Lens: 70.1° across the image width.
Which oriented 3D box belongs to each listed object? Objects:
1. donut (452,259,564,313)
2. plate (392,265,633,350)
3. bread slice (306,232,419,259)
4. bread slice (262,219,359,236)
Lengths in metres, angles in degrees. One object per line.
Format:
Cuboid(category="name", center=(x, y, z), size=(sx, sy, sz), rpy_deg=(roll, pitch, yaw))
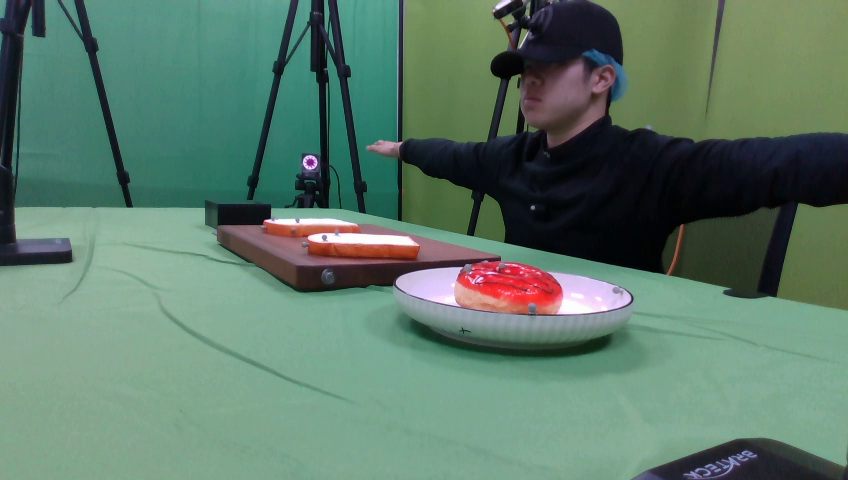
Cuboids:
Cuboid(category="donut", center=(0.074, 0.045, 0.536), size=(0.099, 0.048, 0.099), rpy_deg=(4, 8, 0))
Cuboid(category="plate", center=(0.074, 0.057, 0.533), size=(0.209, 0.038, 0.209), rpy_deg=(3, 7, 0))
Cuboid(category="bread slice", center=(-0.077, 0.006, 0.747), size=(0.135, 0.018, 0.106), rpy_deg=(2, 7, -12))
Cuboid(category="bread slice", center=(-0.179, -0.021, 0.931), size=(0.132, 0.019, 0.104), rpy_deg=(-1, 7, -35))
